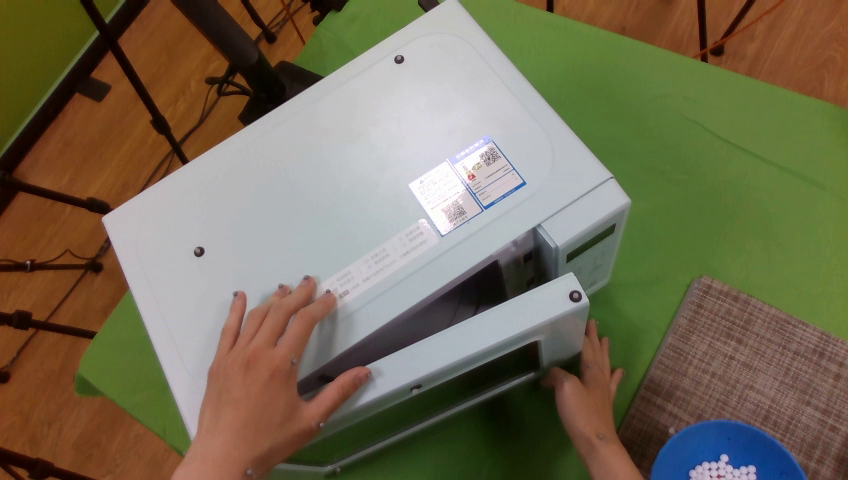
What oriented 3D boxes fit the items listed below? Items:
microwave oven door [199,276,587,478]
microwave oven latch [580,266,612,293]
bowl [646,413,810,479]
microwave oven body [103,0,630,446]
[{"bbox_3d":[-0.006,0.153,0.616,0.356,0.246,0.039,-25,65,1],"label":"microwave oven door"},{"bbox_3d":[0.186,0.049,0.728,0.079,0.030,0.030,-32,67,-1],"label":"microwave oven latch"},{"bbox_3d":[0.300,0.257,0.617,0.151,0.077,0.150,-4,68,10],"label":"bowl"},{"bbox_3d":[-0.057,0.000,0.691,0.442,0.262,0.323,-34,67,-2],"label":"microwave oven body"}]
